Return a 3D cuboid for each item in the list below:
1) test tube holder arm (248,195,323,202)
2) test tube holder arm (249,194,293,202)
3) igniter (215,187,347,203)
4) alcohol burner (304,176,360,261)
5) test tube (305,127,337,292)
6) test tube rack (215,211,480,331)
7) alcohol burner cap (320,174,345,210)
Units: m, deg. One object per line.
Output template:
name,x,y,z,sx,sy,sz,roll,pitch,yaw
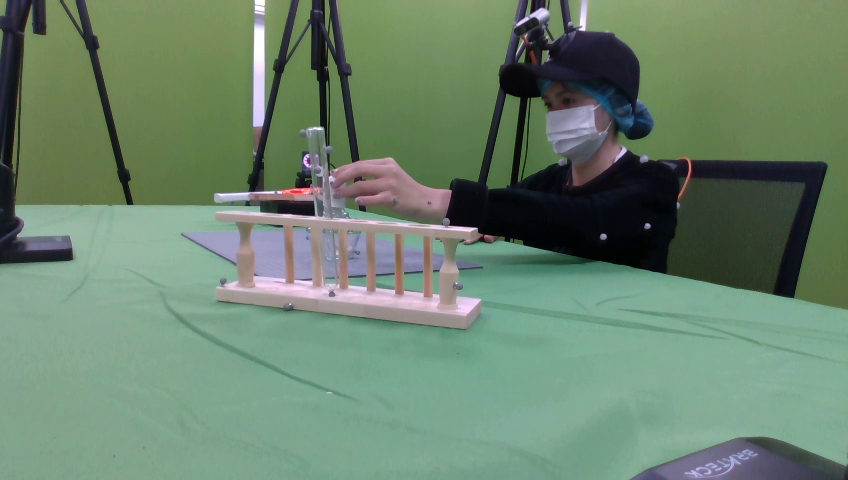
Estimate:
test tube holder arm,-0.270,-0.085,1.231,0.179,0.015,0.013,-3,5,-36
test tube holder arm,-0.303,-0.083,1.200,0.088,0.015,0.010,-3,5,-35
igniter,-0.293,-0.094,1.267,0.278,0.025,0.057,-6,12,-33
alcohol burner,-0.126,-0.031,0.838,0.078,0.119,0.078,3,5,0
test tube,-0.092,-0.026,0.546,0.017,0.150,0.017,-4,8,1
test tube rack,-0.071,0.023,0.565,0.242,0.085,0.067,5,7,16
alcohol burner cap,-0.124,-0.067,0.834,0.034,0.048,0.034,7,7,0
